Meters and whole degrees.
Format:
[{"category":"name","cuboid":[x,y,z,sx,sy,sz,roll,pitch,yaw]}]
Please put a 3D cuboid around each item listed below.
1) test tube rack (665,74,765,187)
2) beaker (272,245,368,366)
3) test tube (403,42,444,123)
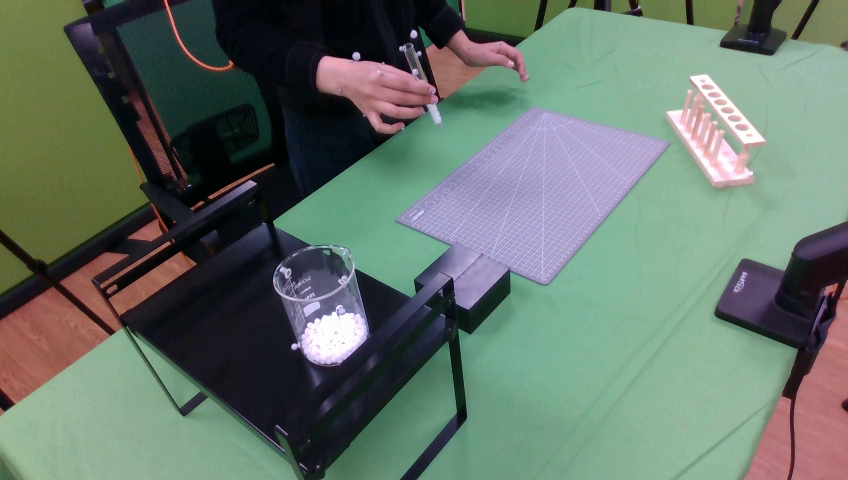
[{"category":"test tube rack","cuboid":[0.512,-0.202,1.082,0.067,0.085,0.241,-5,41,2]},{"category":"beaker","cuboid":[-0.093,0.064,0.578,0.073,0.101,0.084,21,48,29]},{"category":"test tube","cuboid":[0.001,-0.231,0.905,0.017,0.151,0.017,-11,52,15]}]
